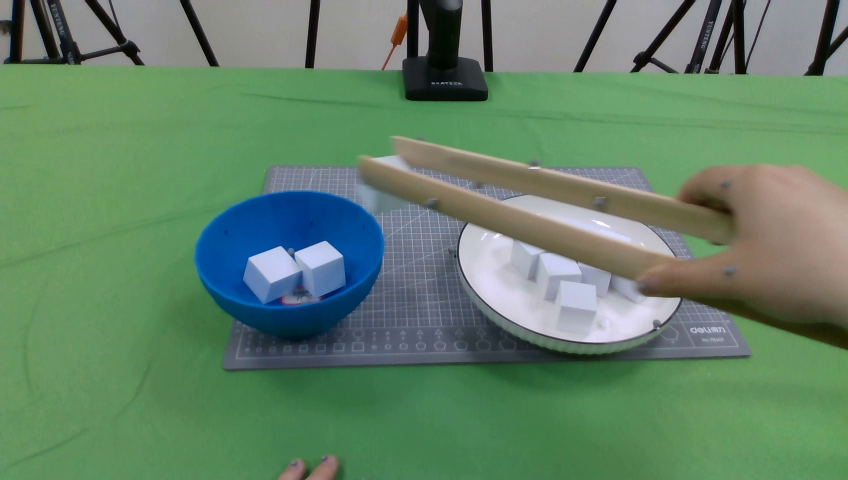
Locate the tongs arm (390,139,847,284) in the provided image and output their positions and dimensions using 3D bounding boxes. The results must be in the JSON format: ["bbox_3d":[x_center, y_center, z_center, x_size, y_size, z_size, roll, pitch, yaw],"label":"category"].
[{"bbox_3d":[0.133,-0.008,0.383,0.382,0.027,0.050,16,42,23],"label":"tongs arm"}]

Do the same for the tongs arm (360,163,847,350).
[{"bbox_3d":[0.119,0.007,0.366,0.385,0.028,0.028,18,40,26],"label":"tongs arm"}]

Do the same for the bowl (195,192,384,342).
[{"bbox_3d":[-0.109,0.033,0.516,0.151,0.077,0.150,3,39,-2],"label":"bowl"}]

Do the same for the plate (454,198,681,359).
[{"bbox_3d":[0.130,0.034,0.568,0.208,0.039,0.205,3,39,-2],"label":"plate"}]
